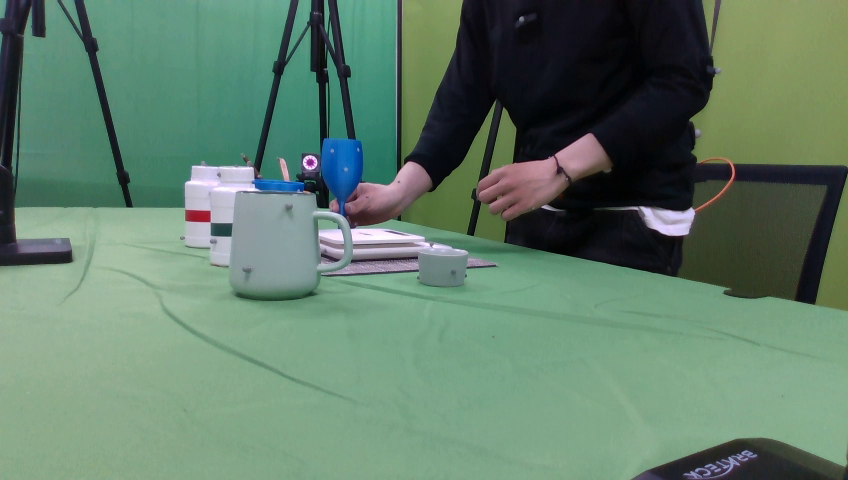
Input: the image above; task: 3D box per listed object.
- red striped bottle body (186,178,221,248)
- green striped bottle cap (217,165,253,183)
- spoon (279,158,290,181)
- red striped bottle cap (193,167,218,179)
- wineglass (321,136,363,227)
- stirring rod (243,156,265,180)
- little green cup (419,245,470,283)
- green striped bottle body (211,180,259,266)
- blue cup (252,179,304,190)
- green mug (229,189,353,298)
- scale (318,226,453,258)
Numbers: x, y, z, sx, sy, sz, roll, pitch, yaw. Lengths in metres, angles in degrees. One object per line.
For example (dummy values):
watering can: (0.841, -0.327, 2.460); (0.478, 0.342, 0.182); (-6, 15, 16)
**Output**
red striped bottle body: (-0.331, -0.050, 0.927); (0.063, 0.119, 0.063); (2, 7, 0)
green striped bottle cap: (-0.242, -0.085, 0.777); (0.044, 0.020, 0.044); (2, 9, 0)
spoon: (-0.280, -0.102, 1.251); (0.042, 0.193, 0.021); (7, -40, -30)
red striped bottle cap: (-0.329, -0.103, 0.921); (0.044, 0.017, 0.044); (-1, 9, 0)
wineglass: (-0.138, -0.086, 1.019); (0.074, 0.172, 0.073); (1, 7, 0)
stirring rod: (-0.304, -0.099, 1.201); (0.006, 0.177, 0.014); (-27, 37, 7)
little green cup: (0.023, 0.028, 0.712); (0.061, 0.038, 0.061); (2, 6, 0)
green striped bottle body: (-0.243, -0.029, 0.784); (0.063, 0.119, 0.063); (2, 7, 0)
blue cup: (-0.230, -0.040, 0.929); (0.093, 0.100, 0.092); (4, 6, 0)
green mug: (-0.135, 0.002, 0.618); (0.125, 0.105, 0.092); (2, 7, 4)
scale: (-0.067, 0.001, 0.906); (0.202, 0.031, 0.148); (-2, 8, -31)
